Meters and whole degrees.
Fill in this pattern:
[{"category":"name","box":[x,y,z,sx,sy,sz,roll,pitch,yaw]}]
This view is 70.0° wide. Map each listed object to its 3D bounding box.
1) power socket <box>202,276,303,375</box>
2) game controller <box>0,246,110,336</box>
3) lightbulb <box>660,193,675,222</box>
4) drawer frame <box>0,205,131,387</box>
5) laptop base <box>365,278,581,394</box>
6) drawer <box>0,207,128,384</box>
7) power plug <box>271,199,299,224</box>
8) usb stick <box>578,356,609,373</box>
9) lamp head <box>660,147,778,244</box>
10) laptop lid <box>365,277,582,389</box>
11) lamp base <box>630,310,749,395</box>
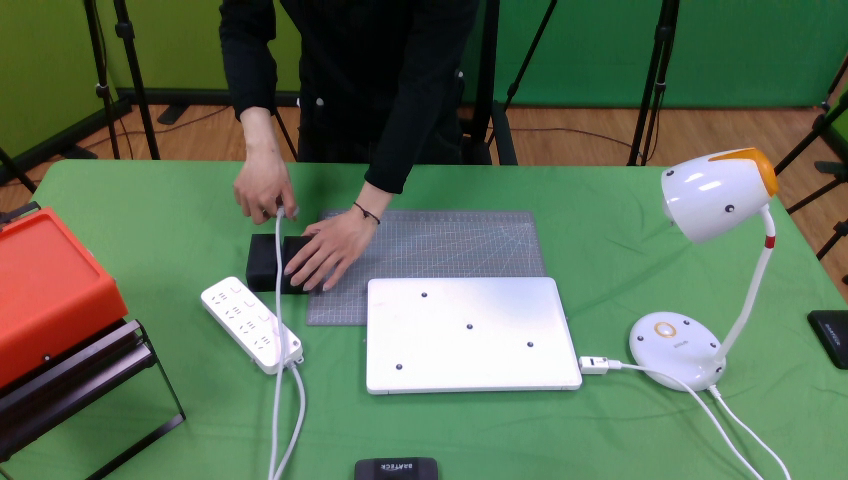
[{"category":"power socket","box":[-0.296,0.142,1.034,0.072,0.033,0.225,-34,58,-31]},{"category":"game controller","box":[-0.511,0.062,0.830,0.097,0.052,0.154,-30,58,-32]},{"category":"lightbulb","box":[0.368,-0.060,0.808,0.060,0.107,0.059,20,58,-36]},{"category":"drawer frame","box":[-0.540,0.075,0.795,0.200,0.083,0.213,36,54,26]},{"category":"laptop base","box":[0.076,0.162,1.053,0.355,0.023,0.234,0,44,-4]},{"category":"drawer","box":[-0.540,0.074,0.798,0.193,0.073,0.211,37,55,27]},{"category":"power plug","box":[-0.269,-0.047,1.155,0.035,0.053,0.072,21,60,29]},{"category":"usb stick","box":[0.274,0.207,1.008,0.059,0.027,0.021,0,51,0]},{"category":"lamp head","box":[0.389,-0.063,0.785,0.123,0.113,0.112,-22,33,37]},{"category":"laptop lid","box":[0.077,0.152,1.046,0.357,0.013,0.240,1,45,-3]},{"category":"lamp base","box":[0.447,0.142,0.984,0.161,0.181,0.178,-24,55,-24]}]
